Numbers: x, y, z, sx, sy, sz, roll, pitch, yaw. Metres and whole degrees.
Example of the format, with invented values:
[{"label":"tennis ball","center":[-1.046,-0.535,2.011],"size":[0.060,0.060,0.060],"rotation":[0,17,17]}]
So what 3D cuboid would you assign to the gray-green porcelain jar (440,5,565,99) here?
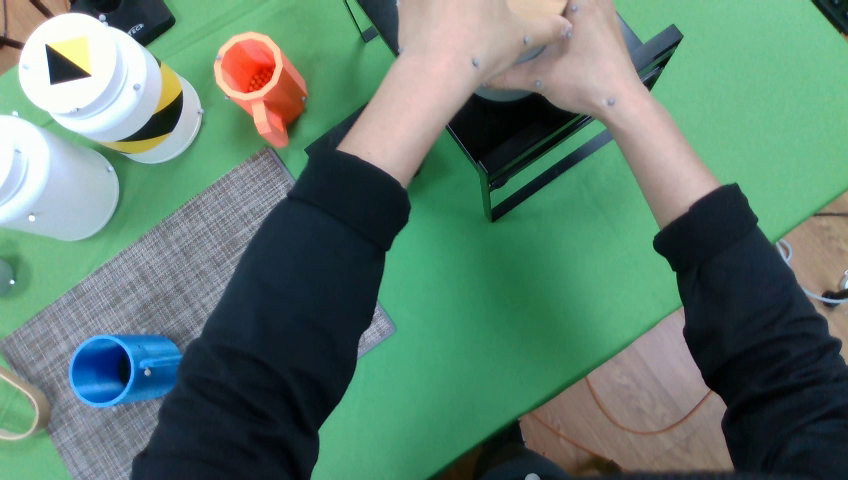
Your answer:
[{"label":"gray-green porcelain jar","center":[0.071,-0.193,0.545],"size":[0.106,0.127,0.105],"rotation":[-1,81,8]}]

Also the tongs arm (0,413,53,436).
[{"label":"tongs arm","center":[-0.681,0.198,0.788],"size":[0.385,0.026,0.050],"rotation":[16,81,1]}]

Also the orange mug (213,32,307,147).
[{"label":"orange mug","center":[-0.203,-0.186,0.772],"size":[0.083,0.101,0.125],"rotation":[-13,77,5]}]

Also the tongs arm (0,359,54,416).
[{"label":"tongs arm","center":[-0.650,0.120,0.798],"size":[0.387,0.028,0.028],"rotation":[30,78,3]}]

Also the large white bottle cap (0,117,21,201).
[{"label":"large white bottle cap","center":[-0.498,-0.087,0.663],"size":[0.115,0.018,0.114],"rotation":[-1,83,7]}]

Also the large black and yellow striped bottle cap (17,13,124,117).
[{"label":"large black and yellow striped bottle cap","center":[-0.388,-0.192,0.665],"size":[0.115,0.019,0.114],"rotation":[-1,82,5]}]

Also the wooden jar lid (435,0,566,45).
[{"label":"wooden jar lid","center":[0.061,-0.204,0.484],"size":[0.108,0.021,0.108],"rotation":[-1,80,7]}]

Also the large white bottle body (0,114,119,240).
[{"label":"large white bottle body","center":[-0.488,-0.076,0.746],"size":[0.130,0.185,0.130],"rotation":[-1,82,7]}]

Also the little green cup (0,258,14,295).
[{"label":"little green cup","center":[-0.591,0.048,0.816],"size":[0.061,0.039,0.061],"rotation":[-1,83,6]}]

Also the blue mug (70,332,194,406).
[{"label":"blue mug","center":[-0.341,0.151,0.737],"size":[0.116,0.106,0.082],"rotation":[-11,81,5]}]

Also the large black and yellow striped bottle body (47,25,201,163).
[{"label":"large black and yellow striped bottle body","center":[-0.377,-0.180,0.747],"size":[0.130,0.184,0.130],"rotation":[-1,82,7]}]
